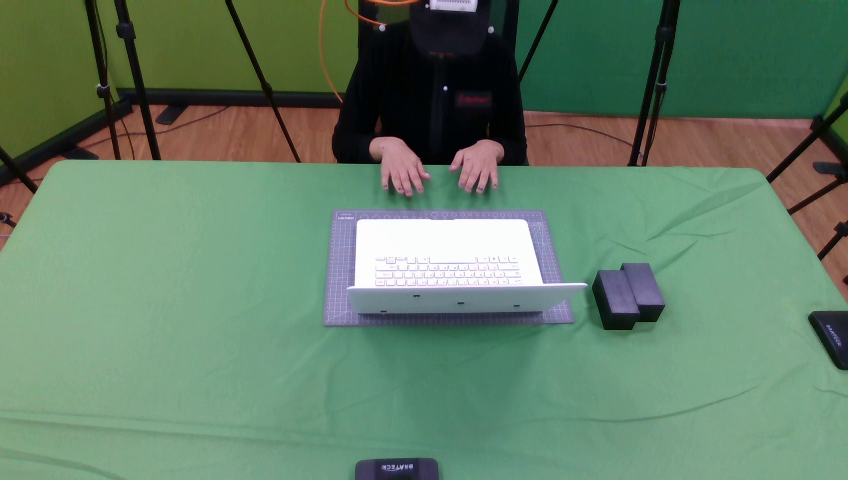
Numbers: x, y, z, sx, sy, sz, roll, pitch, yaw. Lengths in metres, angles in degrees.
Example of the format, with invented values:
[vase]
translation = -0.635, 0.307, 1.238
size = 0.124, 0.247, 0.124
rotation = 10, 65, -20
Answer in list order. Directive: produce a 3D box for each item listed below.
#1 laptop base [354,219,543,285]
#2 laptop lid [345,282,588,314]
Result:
[laptop base]
translation = 0.043, 0.044, 1.162
size = 0.355, 0.023, 0.234
rotation = 0, 43, -5
[laptop lid]
translation = 0.057, 0.096, 0.969
size = 0.357, 0.242, 0.013
rotation = 0, 74, -6
